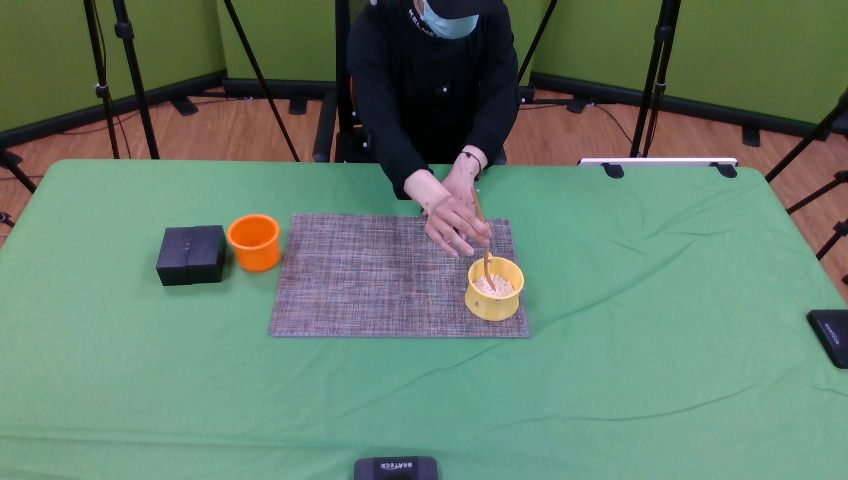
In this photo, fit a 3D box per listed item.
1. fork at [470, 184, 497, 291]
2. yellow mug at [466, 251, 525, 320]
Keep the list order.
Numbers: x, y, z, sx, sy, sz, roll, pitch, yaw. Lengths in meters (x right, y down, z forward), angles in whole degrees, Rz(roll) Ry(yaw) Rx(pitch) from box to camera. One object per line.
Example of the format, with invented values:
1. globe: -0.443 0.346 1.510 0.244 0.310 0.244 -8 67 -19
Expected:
1. fork: 0.103 -0.001 1.040 0.018 0.208 0.028 -8 27 8
2. yellow mug: 0.125 0.074 1.096 0.100 0.064 0.130 -4 46 -7
